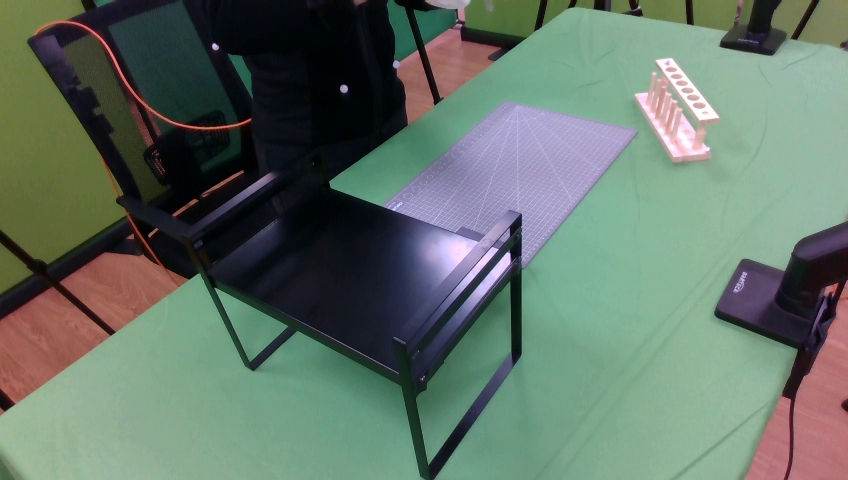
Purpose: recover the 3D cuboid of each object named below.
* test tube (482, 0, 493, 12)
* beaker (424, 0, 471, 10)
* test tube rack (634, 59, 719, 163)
[{"bbox_3d":[0.089,-0.412,0.957,0.017,0.151,0.017,-5,72,17],"label":"test tube"},{"bbox_3d":[0.038,-0.379,0.841,0.073,0.100,0.084,11,8,22],"label":"beaker"},{"bbox_3d":[0.470,-0.251,1.148,0.067,0.085,0.241,-6,40,3],"label":"test tube rack"}]
